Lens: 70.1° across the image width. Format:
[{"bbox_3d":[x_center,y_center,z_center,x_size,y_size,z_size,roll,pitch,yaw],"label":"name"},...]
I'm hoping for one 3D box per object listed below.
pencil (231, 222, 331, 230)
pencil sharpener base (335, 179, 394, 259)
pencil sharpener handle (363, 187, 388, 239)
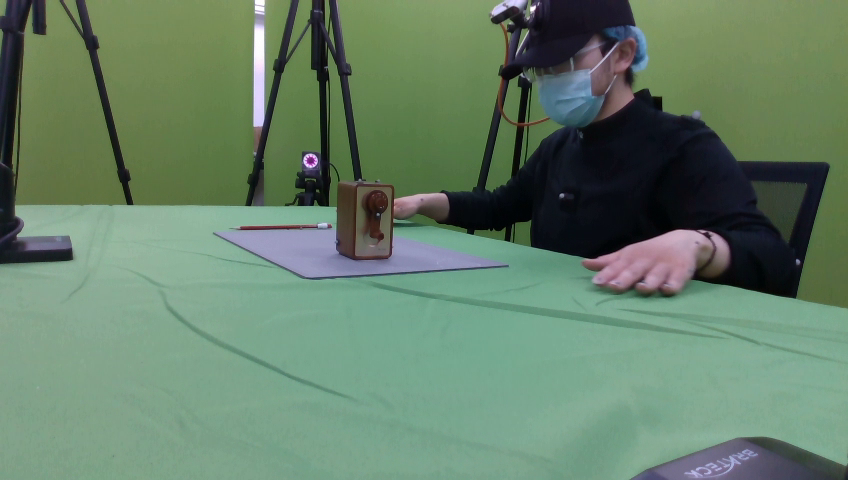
[{"bbox_3d":[-0.272,-0.025,1.165,0.195,0.012,0.012,-3,9,-29],"label":"pencil"},{"bbox_3d":[-0.084,-0.030,0.855,0.061,0.107,0.076,-1,8,-28],"label":"pencil sharpener base"},{"bbox_3d":[-0.061,-0.035,0.809,0.036,0.067,0.030,4,6,-29],"label":"pencil sharpener handle"}]
